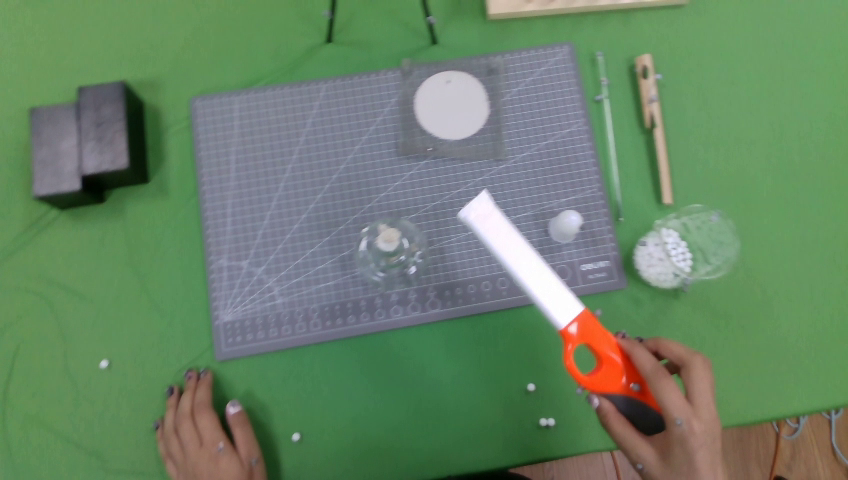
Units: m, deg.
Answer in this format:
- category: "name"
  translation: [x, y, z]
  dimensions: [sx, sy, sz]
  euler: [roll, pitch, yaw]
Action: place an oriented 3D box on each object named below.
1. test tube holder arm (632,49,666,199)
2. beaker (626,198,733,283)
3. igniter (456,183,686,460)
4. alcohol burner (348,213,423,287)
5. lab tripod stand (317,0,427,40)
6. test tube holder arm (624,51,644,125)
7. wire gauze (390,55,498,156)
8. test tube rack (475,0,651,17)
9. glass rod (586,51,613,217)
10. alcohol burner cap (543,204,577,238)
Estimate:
- category: "test tube holder arm"
  translation: [0.258, -0.135, 0.697]
  dimensions: [0.013, 0.015, 0.177]
  euler: [-13, 79, 30]
- category: "beaker"
  translation: [0.257, 0.004, 0.631]
  dimensions: [0.084, 0.100, 0.074]
  euler: [21, 78, 4]
- category: "igniter"
  translation: [0.125, 0.069, 0.499]
  dimensions: [0.057, 0.025, 0.277]
  euler: [-41, 94, -7]
- category: "alcohol burner"
  translation: [-0.040, 0.007, 0.612]
  dimensions: [0.078, 0.119, 0.077]
  euler: [0, 78, 1]
- category: "lab tripod stand"
  translation: [-0.061, -0.284, 0.660]
  dimensions: [0.148, 0.132, 0.148]
  euler: [0, 81, -1]
- category: "test tube holder arm"
  translation: [0.248, -0.177, 0.707]
  dimensions: [0.010, 0.015, 0.087]
  euler: [-13, 79, 29]
- category: "wire gauze"
  translation: [0.023, -0.157, 0.699]
  dimensions: [0.125, 0.011, 0.121]
  euler: [1, 80, -2]
- category: "test tube rack"
  translation: [0.181, -0.322, 0.698]
  dimensions: [0.242, 0.085, 0.066]
  euler: [-6, 79, -3]
- category: "glass rod"
  translation: [0.203, -0.124, 0.700]
  dimensions: [0.008, 0.008, 0.199]
  euler: [-5, 82, -3]
- category: "alcohol burner cap"
  translation: [0.150, -0.023, 0.659]
  dimensions: [0.034, 0.048, 0.033]
  euler: [0, 79, -1]
